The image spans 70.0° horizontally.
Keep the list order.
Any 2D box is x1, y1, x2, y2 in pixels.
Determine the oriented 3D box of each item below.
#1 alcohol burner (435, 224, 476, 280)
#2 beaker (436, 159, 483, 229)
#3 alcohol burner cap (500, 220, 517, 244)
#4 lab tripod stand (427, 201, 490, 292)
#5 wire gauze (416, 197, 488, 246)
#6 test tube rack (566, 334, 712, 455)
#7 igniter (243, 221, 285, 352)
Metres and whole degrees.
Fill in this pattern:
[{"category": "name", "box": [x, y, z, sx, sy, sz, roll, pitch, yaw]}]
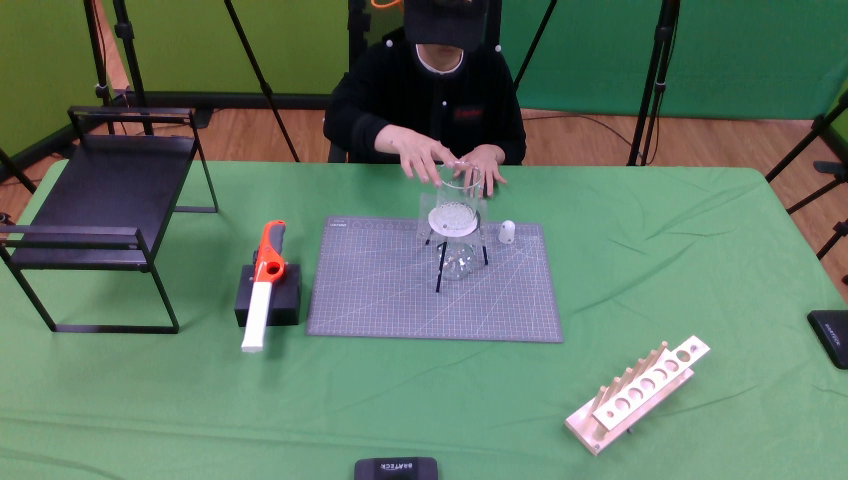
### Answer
[{"category": "alcohol burner", "box": [0.060, 0.017, 1.114, 0.078, 0.119, 0.077, 3, 44, -2]}, {"category": "beaker", "box": [0.057, -0.077, 1.031, 0.074, 0.101, 0.083, -5, 45, -8]}, {"category": "alcohol burner cap", "box": [0.171, -0.018, 1.205, 0.034, 0.048, 0.033, 1, 46, -1]}, {"category": "lab tripod stand", "box": [0.053, 0.003, 1.114, 0.148, 0.132, 0.147, 0, 46, 0]}, {"category": "wire gauze", "box": [0.051, -0.037, 1.062, 0.125, 0.011, 0.121, 4, 42, 5]}, {"category": "test tube rack", "box": [0.339, 0.228, 0.951, 0.242, 0.085, 0.066, -26, 52, -26]}, {"category": "igniter", "box": [-0.273, 0.069, 1.041, 0.057, 0.025, 0.274, 2, 48, -6]}]
